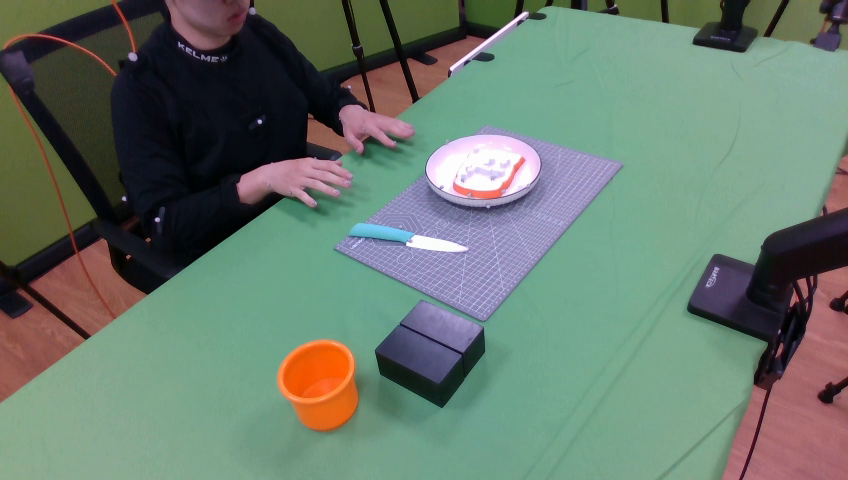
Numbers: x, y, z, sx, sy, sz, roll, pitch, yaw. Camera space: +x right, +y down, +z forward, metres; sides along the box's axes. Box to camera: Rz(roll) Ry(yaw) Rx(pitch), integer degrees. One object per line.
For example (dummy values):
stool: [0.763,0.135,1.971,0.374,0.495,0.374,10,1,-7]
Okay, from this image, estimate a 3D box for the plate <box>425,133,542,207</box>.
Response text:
plate: [0.106,-0.121,1.079,0.209,0.038,0.208,-4,41,4]

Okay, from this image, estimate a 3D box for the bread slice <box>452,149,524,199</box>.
bread slice: [0.111,-0.119,1.078,0.104,0.019,0.131,12,43,21]

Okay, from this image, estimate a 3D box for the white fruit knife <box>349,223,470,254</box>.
white fruit knife: [-0.025,-0.001,0.976,0.206,0.016,0.027,11,73,17]
